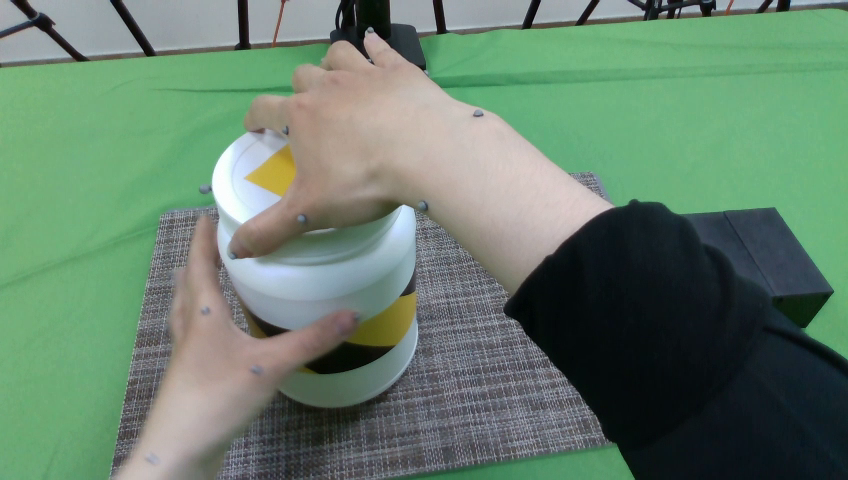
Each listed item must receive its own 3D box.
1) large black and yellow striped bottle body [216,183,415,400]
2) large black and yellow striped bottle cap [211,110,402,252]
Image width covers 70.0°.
[{"bbox_3d":[-0.072,0.017,0.437,0.131,0.185,0.129,0,47,0],"label":"large black and yellow striped bottle body"},{"bbox_3d":[-0.071,-0.040,0.374,0.115,0.019,0.114,0,48,0],"label":"large black and yellow striped bottle cap"}]
